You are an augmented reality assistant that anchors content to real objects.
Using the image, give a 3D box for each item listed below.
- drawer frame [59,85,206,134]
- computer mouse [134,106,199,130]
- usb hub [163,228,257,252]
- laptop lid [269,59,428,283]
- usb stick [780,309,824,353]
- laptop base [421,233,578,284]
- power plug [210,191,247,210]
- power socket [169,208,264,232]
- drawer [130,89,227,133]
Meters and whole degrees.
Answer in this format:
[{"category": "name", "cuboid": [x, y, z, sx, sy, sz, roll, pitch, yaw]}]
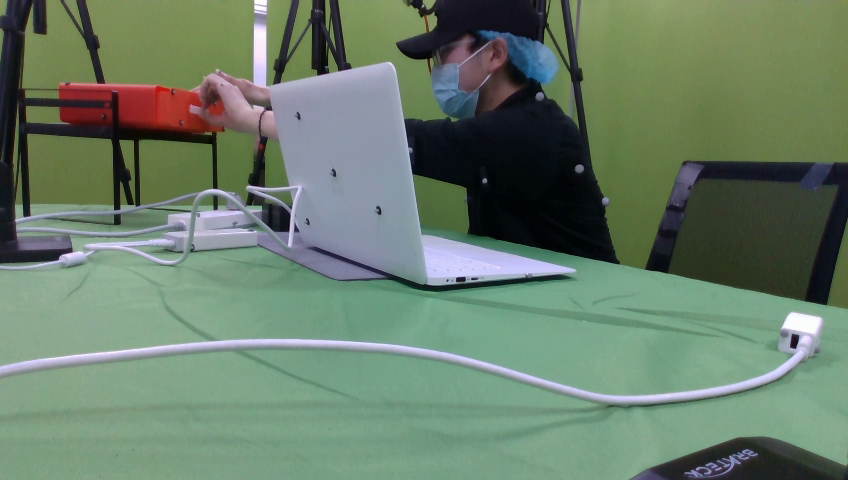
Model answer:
[{"category": "drawer frame", "cuboid": [-0.569, -0.263, 1.224, 0.213, 0.082, 0.202, 3, 8, 10]}, {"category": "computer mouse", "cuboid": [-0.517, -0.245, 1.217, 0.118, 0.041, 0.062, 2, 3, -39]}, {"category": "usb hub", "cuboid": [-0.314, 0.000, 0.894, 0.049, 0.025, 0.126, 9, 10, 41]}, {"category": "laptop lid", "cuboid": [-0.110, -0.087, 0.752, 0.013, 0.241, 0.355, -18, 19, -30]}, {"category": "usb stick", "cuboid": [0.311, 0.072, 0.496, 0.027, 0.021, 0.059, 7, 15, 34]}, {"category": "laptop base", "cuboid": [0.007, 0.021, 0.850, 0.237, 0.023, 0.352, 1, 7, -34]}, {"category": "power plug", "cuboid": [-0.386, -0.071, 1.204, 0.072, 0.052, 0.035, 8, 10, 26]}, {"category": "power socket", "cuboid": [-0.380, -0.038, 1.127, 0.072, 0.032, 0.227, 4, 8, 17]}, {"category": "drawer", "cuboid": [-0.540, -0.259, 1.220, 0.211, 0.073, 0.195, 3, 8, 11]}]
